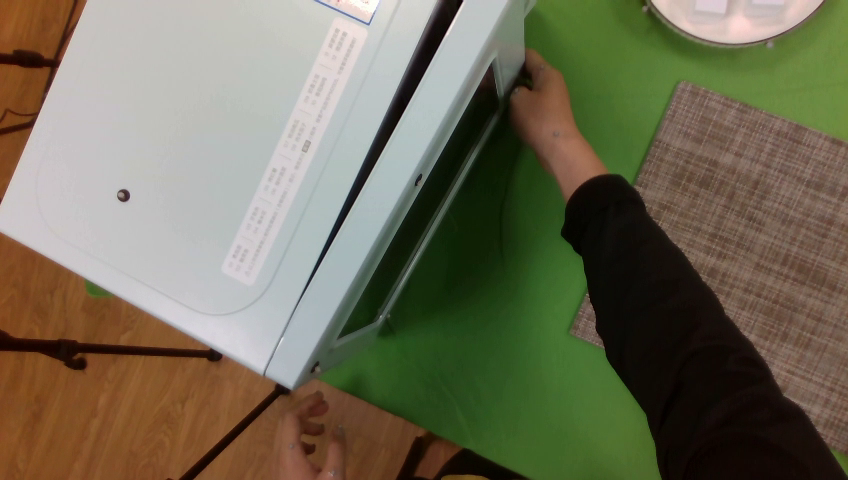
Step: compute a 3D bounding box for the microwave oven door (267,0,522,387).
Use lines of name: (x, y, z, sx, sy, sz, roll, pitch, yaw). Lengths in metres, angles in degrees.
microwave oven door: (-0.011, -0.044, 0.570, 0.039, 0.244, 0.356, 30, 94, 8)

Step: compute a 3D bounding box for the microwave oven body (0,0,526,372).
microwave oven body: (-0.131, -0.151, 0.592, 0.325, 0.260, 0.442, 26, 95, 7)

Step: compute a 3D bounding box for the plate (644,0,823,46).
plate: (0.324, -0.305, 0.637, 0.207, 0.039, 0.207, 0, 90, 9)

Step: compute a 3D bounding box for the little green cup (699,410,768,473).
little green cup: (0.324, 0.210, 0.641, 0.061, 0.039, 0.061, 0, 88, 9)

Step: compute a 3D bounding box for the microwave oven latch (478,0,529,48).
microwave oven latch: (0.090, -0.250, 0.655, 0.030, 0.029, 0.079, 38, 96, 6)
